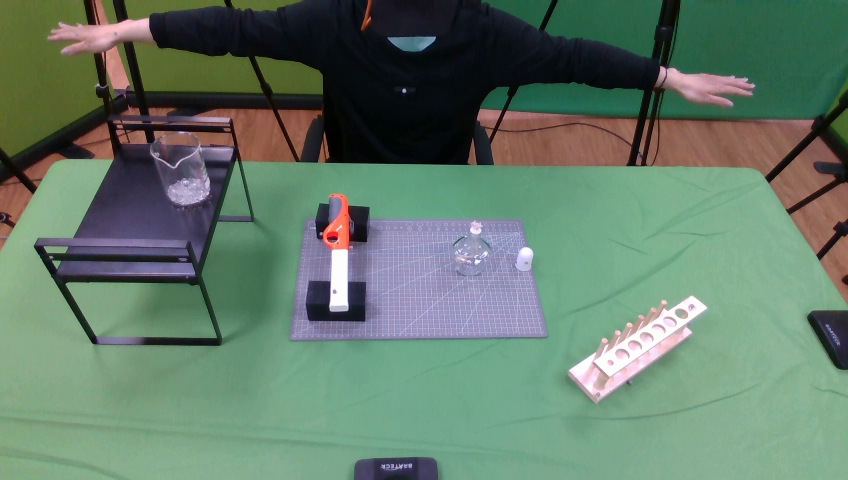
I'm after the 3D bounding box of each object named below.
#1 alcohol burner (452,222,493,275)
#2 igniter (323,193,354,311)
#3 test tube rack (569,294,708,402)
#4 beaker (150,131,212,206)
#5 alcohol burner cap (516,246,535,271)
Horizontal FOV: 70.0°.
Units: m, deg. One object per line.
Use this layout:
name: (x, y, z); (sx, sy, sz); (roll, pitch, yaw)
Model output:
alcohol burner: (0.091, 0.009, 1.124); (0.078, 0.119, 0.077); (2, 48, -2)
igniter: (-0.155, 0.012, 1.097); (0.057, 0.025, 0.274); (-2, 48, -7)
test tube rack: (0.360, 0.167, 1.015); (0.242, 0.085, 0.066); (-25, 52, -25)
beaker: (-0.385, -0.110, 0.969); (0.074, 0.101, 0.083); (-6, 48, -9)
alcohol burner cap: (0.195, 0.032, 1.158); (0.034, 0.048, 0.033); (3, 45, -2)
